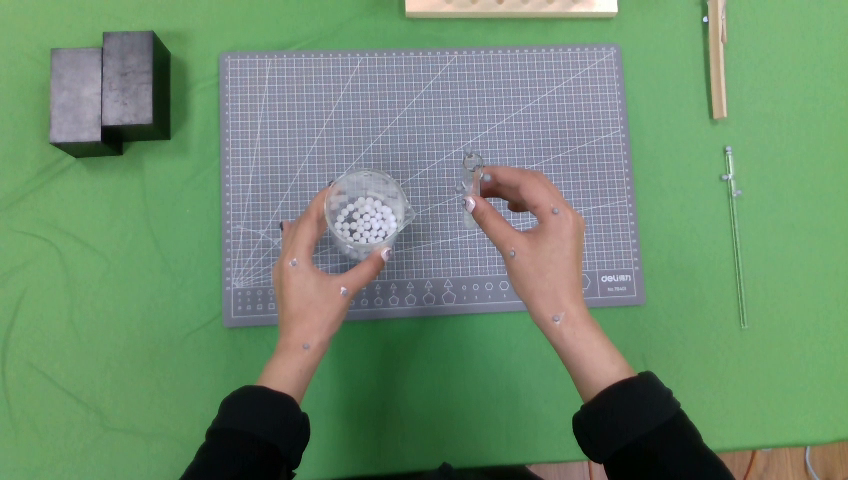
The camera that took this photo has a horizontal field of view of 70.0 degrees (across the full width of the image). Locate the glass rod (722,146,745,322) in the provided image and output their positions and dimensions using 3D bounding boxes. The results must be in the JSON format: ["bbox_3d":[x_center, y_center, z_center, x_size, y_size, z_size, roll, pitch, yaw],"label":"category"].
[{"bbox_3d":[0.345,-0.008,0.677,0.008,0.008,0.199,-1,82,-4],"label":"glass rod"}]

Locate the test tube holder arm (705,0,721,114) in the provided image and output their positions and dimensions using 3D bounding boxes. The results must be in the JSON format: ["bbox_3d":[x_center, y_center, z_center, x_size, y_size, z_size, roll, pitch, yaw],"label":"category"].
[{"bbox_3d":[0.333,-0.232,0.697,0.013,0.015,0.178,8,81,-32],"label":"test tube holder arm"}]

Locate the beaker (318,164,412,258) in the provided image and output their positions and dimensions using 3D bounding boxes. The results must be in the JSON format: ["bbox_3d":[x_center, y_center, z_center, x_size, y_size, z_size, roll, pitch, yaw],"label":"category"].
[{"bbox_3d":[-0.057,-0.023,0.587,0.084,0.100,0.073,7,79,-6],"label":"beaker"}]

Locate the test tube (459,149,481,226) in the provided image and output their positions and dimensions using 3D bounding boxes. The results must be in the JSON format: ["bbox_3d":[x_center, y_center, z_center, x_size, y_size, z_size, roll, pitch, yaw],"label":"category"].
[{"bbox_3d":[0.038,-0.040,0.517,0.017,0.151,0.017,-1,74,3],"label":"test tube"}]

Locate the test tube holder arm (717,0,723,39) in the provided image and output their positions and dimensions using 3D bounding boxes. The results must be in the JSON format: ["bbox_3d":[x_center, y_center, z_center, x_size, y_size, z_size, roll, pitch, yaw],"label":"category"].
[{"bbox_3d":[0.340,-0.276,0.706,0.010,0.015,0.087,8,81,-31],"label":"test tube holder arm"}]

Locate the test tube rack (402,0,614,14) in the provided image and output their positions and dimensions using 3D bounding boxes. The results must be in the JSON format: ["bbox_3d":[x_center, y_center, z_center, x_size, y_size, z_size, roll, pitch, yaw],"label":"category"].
[{"bbox_3d":[0.098,-0.299,0.660,0.242,0.085,0.066,-2,82,-4],"label":"test tube rack"}]
